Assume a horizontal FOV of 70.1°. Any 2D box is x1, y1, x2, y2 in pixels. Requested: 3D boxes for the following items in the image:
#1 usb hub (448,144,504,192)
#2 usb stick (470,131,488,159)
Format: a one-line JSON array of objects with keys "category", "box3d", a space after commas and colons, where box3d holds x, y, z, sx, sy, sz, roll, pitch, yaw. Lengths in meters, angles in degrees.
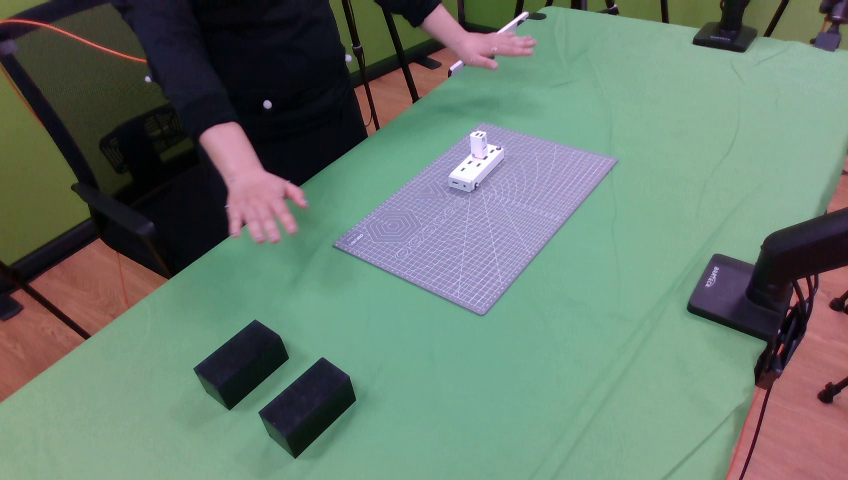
[{"category": "usb hub", "box3d": [0.097, -0.133, 1.105, 0.049, 0.025, 0.125, 20, 48, 28]}, {"category": "usb stick", "box3d": [0.100, -0.166, 1.100, 0.027, 0.059, 0.021, 18, 46, 25]}]
